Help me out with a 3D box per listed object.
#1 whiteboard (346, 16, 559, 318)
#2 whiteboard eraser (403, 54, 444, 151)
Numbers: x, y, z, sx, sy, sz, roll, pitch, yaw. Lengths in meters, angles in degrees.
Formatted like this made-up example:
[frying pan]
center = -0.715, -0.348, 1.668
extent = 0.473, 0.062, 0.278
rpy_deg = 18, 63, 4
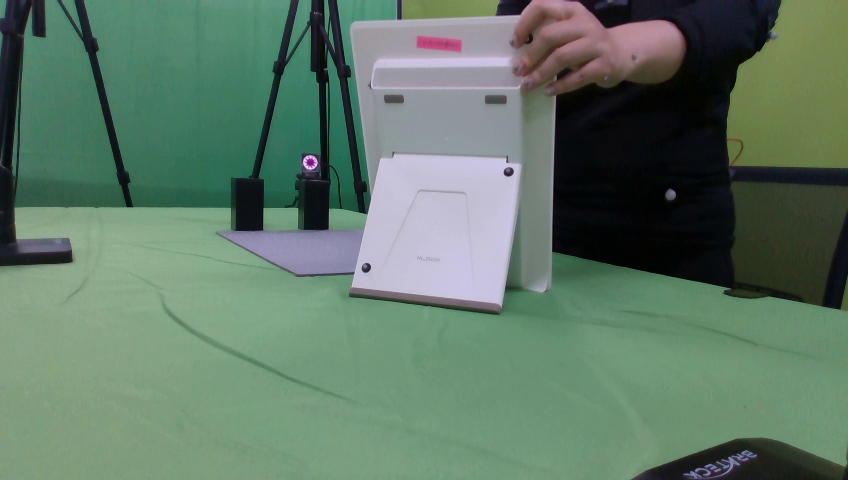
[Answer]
[whiteboard]
center = 0.012, -0.055, 0.608
extent = 0.216, 0.305, 0.144
rpy_deg = 6, 27, 20
[whiteboard eraser]
center = -0.001, -0.148, 0.652
extent = 0.041, 0.101, 0.019
rpy_deg = 8, 21, 14
